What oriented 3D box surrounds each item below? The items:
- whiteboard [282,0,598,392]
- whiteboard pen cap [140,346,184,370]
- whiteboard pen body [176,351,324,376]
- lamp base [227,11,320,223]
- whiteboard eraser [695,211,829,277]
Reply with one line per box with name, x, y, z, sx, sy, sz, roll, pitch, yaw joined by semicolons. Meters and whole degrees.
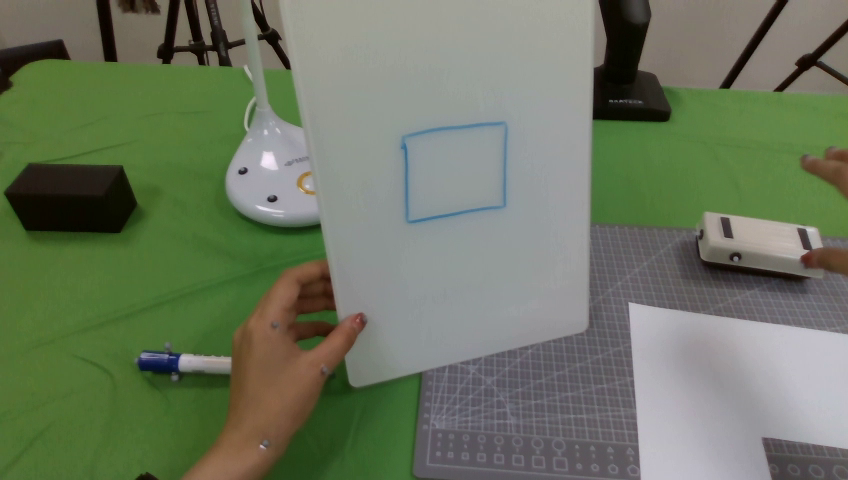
whiteboard;0.013;-0.061;0.513;0.218;0.307;0.142;-11;25;-12
whiteboard pen cap;-0.213;0.097;0.497;0.033;0.018;0.018;5;42;-5
whiteboard pen body;-0.154;0.101;0.499;0.141;0.017;0.017;3;42;-3
lamp base;-0.148;-0.136;0.640;0.160;0.182;0.177;-33;50;-31
whiteboard eraser;0.327;0.006;0.595;0.112;0.042;0.055;8;42;8
